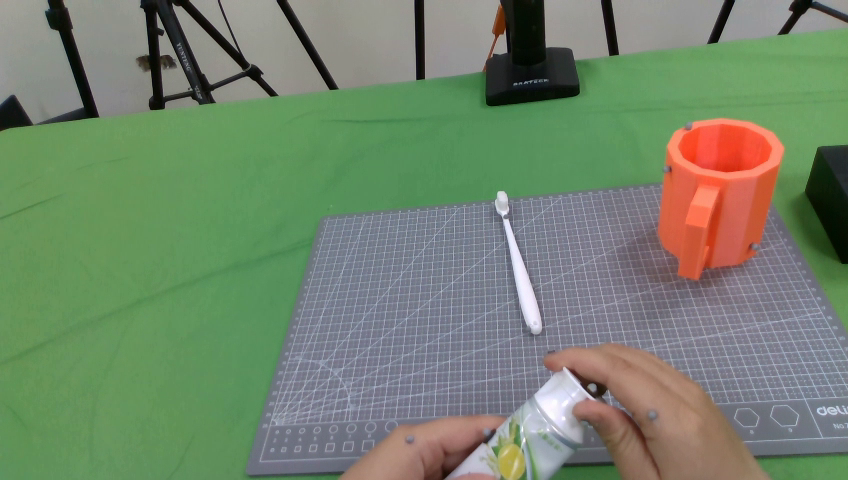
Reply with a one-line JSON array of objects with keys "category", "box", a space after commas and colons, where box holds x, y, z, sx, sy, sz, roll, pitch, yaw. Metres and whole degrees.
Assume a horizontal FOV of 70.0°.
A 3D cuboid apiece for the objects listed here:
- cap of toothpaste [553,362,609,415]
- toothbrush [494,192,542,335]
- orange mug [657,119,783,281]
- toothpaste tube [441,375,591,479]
[{"category": "cap of toothpaste", "box": [0.085, 0.082, 0.329, 0.011, 0.038, 0.037, -49, 44, 7]}, {"category": "toothbrush", "box": [0.085, 0.015, 0.559, 0.014, 0.017, 0.180, 1, 42, -7]}, {"category": "orange mug", "box": [0.239, -0.029, 0.507, 0.083, 0.102, 0.126, 16, 44, 29]}, {"category": "toothpaste tube", "box": [0.032, 0.140, 0.342, 0.165, 0.035, 0.054, -49, 48, 7]}]
